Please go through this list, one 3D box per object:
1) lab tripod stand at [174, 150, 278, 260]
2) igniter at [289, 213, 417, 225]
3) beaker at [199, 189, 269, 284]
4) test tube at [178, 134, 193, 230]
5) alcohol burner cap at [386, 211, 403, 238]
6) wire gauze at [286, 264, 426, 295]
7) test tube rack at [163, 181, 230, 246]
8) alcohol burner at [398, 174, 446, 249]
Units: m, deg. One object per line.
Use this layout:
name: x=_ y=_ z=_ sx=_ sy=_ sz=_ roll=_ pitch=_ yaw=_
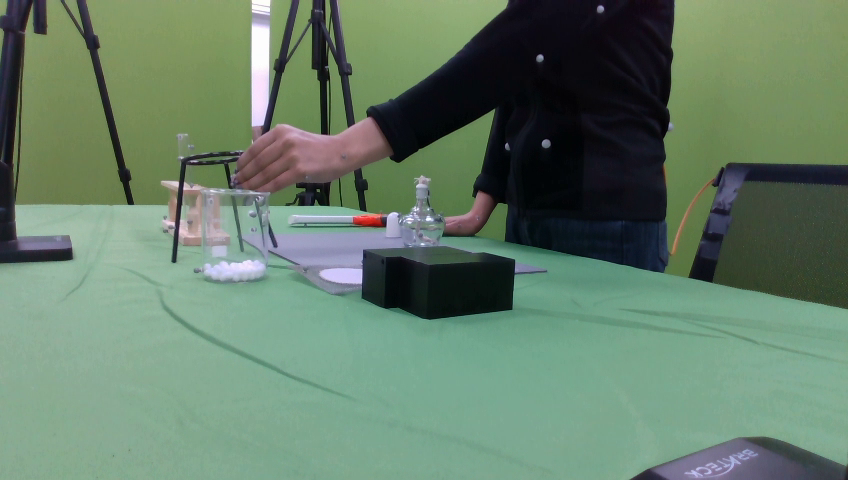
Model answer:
lab tripod stand: x=-0.265 y=-0.047 z=0.798 sx=0.148 sy=0.131 sz=0.148 roll=-8 pitch=4 yaw=1
igniter: x=-0.144 y=-0.044 z=1.275 sx=0.278 sy=0.025 sz=0.057 roll=-1 pitch=-2 yaw=-27
beaker: x=-0.209 y=-0.006 z=0.676 sx=0.073 sy=0.100 sz=0.084 roll=7 pitch=8 yaw=27
test tube: x=-0.367 y=-0.089 z=0.938 sx=0.017 sy=0.150 sz=0.017 roll=-1 pitch=9 yaw=0
alcohol burner cap: x=-0.053 y=-0.029 z=1.107 sx=0.034 sy=0.048 sz=0.034 roll=3 pitch=8 yaw=0
wire gauze: x=-0.080 y=0.039 z=0.692 sx=0.122 sy=0.011 sz=0.124 roll=-4 pitch=11 yaw=-37
test tube rack: x=-0.387 y=-0.050 z=1.015 sx=0.067 sy=0.085 sz=0.241 roll=-2 pitch=9 yaw=-30
alcohol burner: x=-0.003 y=-0.046 z=0.973 sx=0.078 sy=0.119 sz=0.078 roll=0 pitch=7 yaw=0
